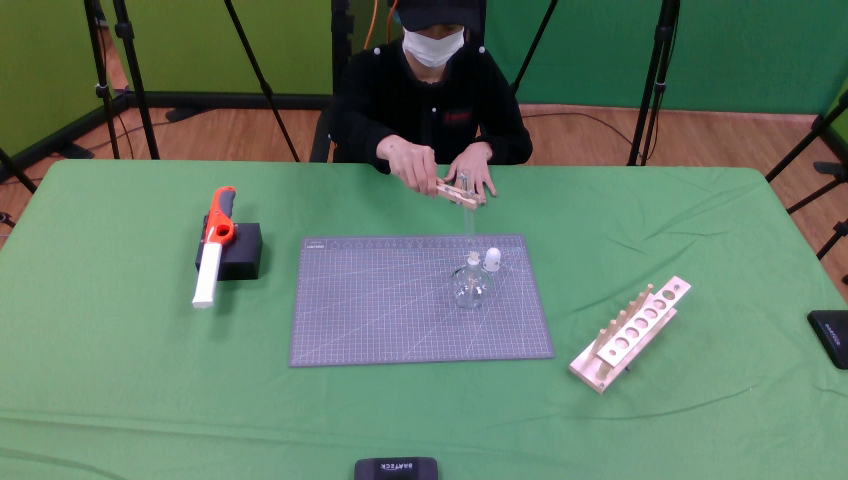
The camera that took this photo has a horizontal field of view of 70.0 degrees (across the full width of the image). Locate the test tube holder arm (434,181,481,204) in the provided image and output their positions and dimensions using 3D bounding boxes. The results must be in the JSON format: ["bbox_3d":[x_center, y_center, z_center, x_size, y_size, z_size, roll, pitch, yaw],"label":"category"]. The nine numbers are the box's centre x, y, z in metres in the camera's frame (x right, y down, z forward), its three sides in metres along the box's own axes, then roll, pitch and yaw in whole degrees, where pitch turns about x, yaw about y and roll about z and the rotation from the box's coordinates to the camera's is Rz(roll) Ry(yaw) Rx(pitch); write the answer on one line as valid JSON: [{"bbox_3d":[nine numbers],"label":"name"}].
[{"bbox_3d":[0.052,-0.077,0.976,0.087,0.015,0.010,19,50,25],"label":"test tube holder arm"}]

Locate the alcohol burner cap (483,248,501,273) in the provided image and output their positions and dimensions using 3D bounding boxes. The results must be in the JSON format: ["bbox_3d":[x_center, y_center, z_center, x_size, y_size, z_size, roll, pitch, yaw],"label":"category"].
[{"bbox_3d":[0.130,0.037,1.156,0.034,0.048,0.033,1,46,-1],"label":"alcohol burner cap"}]

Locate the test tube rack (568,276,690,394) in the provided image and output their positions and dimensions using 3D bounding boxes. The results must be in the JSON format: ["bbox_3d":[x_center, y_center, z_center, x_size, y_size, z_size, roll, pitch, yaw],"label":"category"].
[{"bbox_3d":[0.353,0.149,1.039,0.242,0.085,0.066,-34,56,-31],"label":"test tube rack"}]

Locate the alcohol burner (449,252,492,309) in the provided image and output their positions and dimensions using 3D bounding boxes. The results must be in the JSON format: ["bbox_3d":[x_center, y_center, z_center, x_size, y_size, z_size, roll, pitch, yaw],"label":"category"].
[{"bbox_3d":[0.084,0.066,1.073,0.078,0.120,0.077,1,44,-1],"label":"alcohol burner"}]

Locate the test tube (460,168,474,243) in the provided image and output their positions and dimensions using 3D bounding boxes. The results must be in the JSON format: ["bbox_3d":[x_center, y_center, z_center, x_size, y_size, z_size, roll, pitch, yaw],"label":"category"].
[{"bbox_3d":[0.071,-0.052,0.976,0.017,0.151,0.017,-4,43,4],"label":"test tube"}]

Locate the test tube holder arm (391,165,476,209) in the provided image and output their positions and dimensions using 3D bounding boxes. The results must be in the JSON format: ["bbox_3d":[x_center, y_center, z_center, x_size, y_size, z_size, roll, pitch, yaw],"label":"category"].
[{"bbox_3d":[0.013,-0.089,0.995,0.177,0.015,0.013,26,53,31],"label":"test tube holder arm"}]

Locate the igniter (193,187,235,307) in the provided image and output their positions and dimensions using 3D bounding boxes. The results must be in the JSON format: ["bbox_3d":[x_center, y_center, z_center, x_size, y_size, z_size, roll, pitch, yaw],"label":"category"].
[{"bbox_3d":[-0.379,0.003,1.096,0.057,0.025,0.274,-1,49,-6],"label":"igniter"}]
